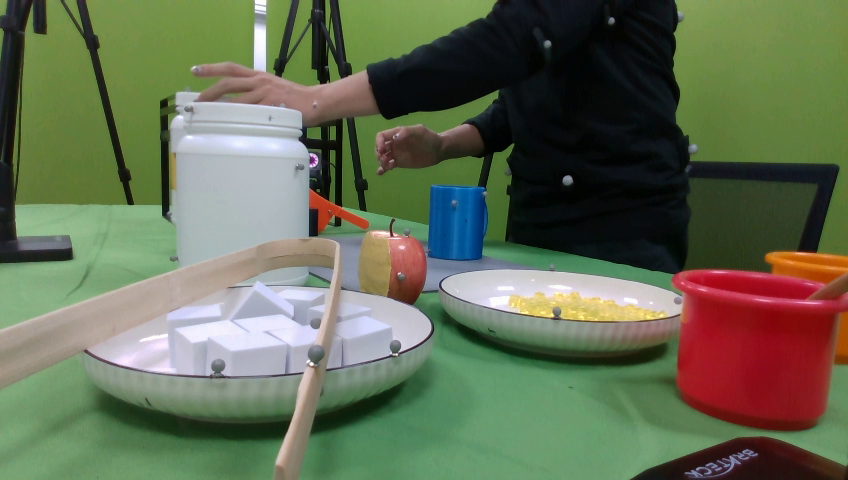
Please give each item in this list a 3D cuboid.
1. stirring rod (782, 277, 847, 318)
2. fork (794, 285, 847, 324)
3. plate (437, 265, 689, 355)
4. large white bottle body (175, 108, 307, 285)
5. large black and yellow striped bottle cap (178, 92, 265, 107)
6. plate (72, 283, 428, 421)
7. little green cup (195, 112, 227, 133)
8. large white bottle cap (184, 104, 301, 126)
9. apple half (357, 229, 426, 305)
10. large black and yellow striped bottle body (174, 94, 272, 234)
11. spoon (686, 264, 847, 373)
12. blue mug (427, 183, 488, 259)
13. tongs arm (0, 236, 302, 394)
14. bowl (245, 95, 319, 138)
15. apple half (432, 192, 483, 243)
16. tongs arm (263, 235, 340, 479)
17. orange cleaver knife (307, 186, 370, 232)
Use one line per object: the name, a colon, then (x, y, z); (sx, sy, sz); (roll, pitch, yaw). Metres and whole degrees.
stirring rod: (0.344, 0.019, 0.461); (0.014, 0.006, 0.176); (-13, -27, -30)
fork: (0.332, 0.018, 0.443); (0.028, 0.018, 0.207); (0, -36, -15)
plate: (0.114, 0.057, 0.517); (0.209, 0.038, 0.209); (2, 8, 0)
large white bottle body: (-0.188, -0.042, 0.630); (0.131, 0.184, 0.130); (2, 8, 0)
large black and yellow striped bottle cap: (-0.279, -0.191, 0.839); (0.115, 0.019, 0.115); (5, 9, 0)
plate: (-0.102, 0.066, 0.381); (0.208, 0.039, 0.207); (2, 7, 0)
little green cup: (-0.412, -0.228, 1.171); (0.061, 0.038, 0.061); (3, 8, 0)
large white bottle cap: (-0.184, -0.126, 0.618); (0.115, 0.018, 0.115); (2, 8, 0)
apple half: (-0.026, 0.028, 0.570); (0.053, 0.074, 0.080); (2, 2, -28)
large black and yellow striped bottle body: (-0.283, -0.109, 0.855); (0.131, 0.184, 0.130); (4, 11, 0)
spoon: (0.214, 0.032, 0.328); (0.042, 0.021, 0.193); (-2, -35, -26)
blue mug: (0.059, -0.031, 0.907); (0.082, 0.106, 0.117); (9, 10, 42)
tongs arm: (-0.158, 0.038, 0.351); (0.028, 0.028, 0.388); (-3, 8, 11)
bowl: (-0.293, -0.251, 1.249); (0.151, 0.077, 0.151); (2, 7, 0)
apple half: (0.049, -0.036, 0.906); (0.081, 0.081, 0.033); (2, 14, -1)
tongs arm: (-0.074, 0.039, 0.349); (0.051, 0.026, 0.384); (-2, 9, -3)
orange cleaver knife: (-0.197, -0.056, 1.141); (0.212, 0.077, 0.012); (29, 0, -34)
